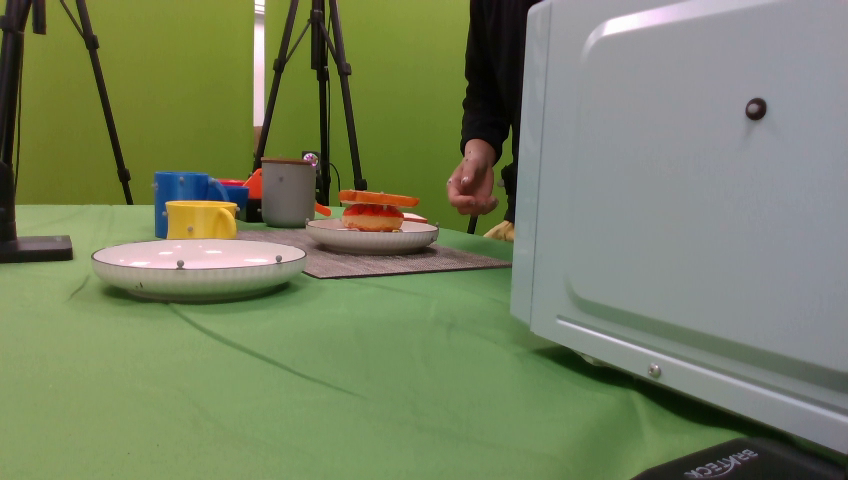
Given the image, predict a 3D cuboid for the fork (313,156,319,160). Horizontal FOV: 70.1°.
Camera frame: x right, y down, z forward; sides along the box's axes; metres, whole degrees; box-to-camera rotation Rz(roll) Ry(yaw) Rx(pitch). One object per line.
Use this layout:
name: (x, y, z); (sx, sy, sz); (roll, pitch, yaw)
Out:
fork: (-0.330, -0.144, 1.505); (0.207, 0.018, 0.028); (-42, -19, 22)

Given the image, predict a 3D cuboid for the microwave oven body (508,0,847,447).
microwave oven body: (0.331, -0.042, 0.425); (0.444, 0.260, 0.324); (-2, 8, -31)

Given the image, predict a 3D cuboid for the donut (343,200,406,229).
donut: (-0.078, -0.038, 0.945); (0.099, 0.048, 0.099); (0, 8, 0)

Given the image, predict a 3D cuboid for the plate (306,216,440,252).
plate: (-0.080, -0.011, 0.948); (0.209, 0.038, 0.209); (2, 7, 0)

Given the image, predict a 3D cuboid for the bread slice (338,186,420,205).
bread slice: (-0.080, -0.068, 0.937); (0.107, 0.018, 0.134); (5, 0, -22)

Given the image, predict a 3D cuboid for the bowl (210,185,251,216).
bowl: (-0.408, -0.064, 1.154); (0.151, 0.077, 0.151); (2, 8, 0)

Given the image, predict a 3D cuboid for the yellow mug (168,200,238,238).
yellow mug: (-0.319, -0.023, 0.903); (0.130, 0.064, 0.100); (8, 11, 36)

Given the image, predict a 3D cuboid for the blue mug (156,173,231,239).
blue mug: (-0.380, -0.057, 1.003); (0.117, 0.106, 0.082); (1, 8, -12)

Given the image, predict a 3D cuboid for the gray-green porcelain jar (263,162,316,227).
gray-green porcelain jar: (-0.270, -0.092, 1.217); (0.106, 0.126, 0.106); (2, 7, 0)

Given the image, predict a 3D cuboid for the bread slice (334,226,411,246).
bread slice: (-0.074, -0.008, 0.936); (0.105, 0.019, 0.131); (-1, 7, -20)

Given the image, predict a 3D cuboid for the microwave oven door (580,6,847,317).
microwave oven door: (0.294, -0.067, 0.569); (0.358, 0.243, 0.039); (-3, 9, -31)

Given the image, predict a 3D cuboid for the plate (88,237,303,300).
plate: (-0.233, 0.029, 0.636); (0.208, 0.039, 0.207); (2, 7, 0)

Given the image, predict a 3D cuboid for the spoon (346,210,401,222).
spoon: (-0.120, -0.059, 1.399); (0.042, 0.021, 0.192); (-28, 25, -37)

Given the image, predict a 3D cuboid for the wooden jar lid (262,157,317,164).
wooden jar lid: (-0.269, -0.154, 1.207); (0.108, 0.020, 0.108); (3, 4, 0)

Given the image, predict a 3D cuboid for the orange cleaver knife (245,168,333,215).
orange cleaver knife: (-0.300, -0.089, 1.351); (0.212, 0.077, 0.012); (28, -9, -34)

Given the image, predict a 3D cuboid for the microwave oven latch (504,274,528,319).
microwave oven latch: (0.100, 0.042, 0.467); (0.079, 0.029, 0.030); (-1, 7, -23)
